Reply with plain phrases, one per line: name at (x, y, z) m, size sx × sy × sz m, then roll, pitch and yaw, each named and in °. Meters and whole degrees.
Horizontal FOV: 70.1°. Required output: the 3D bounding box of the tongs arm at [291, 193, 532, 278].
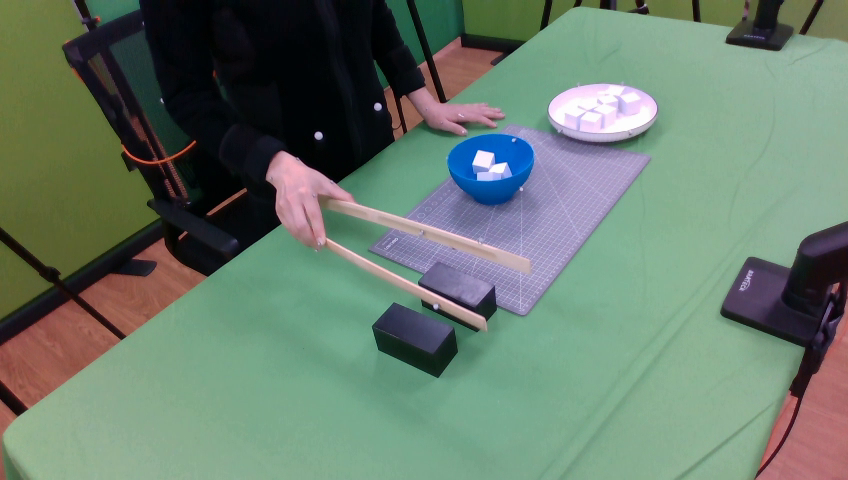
tongs arm at (-0.033, -0.006, 0.843) m, size 0.382 × 0.026 × 0.051 m, roll 21°, pitch 53°, yaw 30°

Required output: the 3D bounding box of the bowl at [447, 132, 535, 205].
bowl at (0.119, -0.115, 1.051) m, size 0.151 × 0.077 × 0.150 m, roll -5°, pitch 40°, yaw 5°

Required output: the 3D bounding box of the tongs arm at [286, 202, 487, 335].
tongs arm at (-0.068, 0.031, 0.811) m, size 0.384 × 0.028 × 0.028 m, roll 27°, pitch 60°, yaw 34°

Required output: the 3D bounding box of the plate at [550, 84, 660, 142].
plate at (0.355, -0.247, 1.195) m, size 0.207 × 0.039 × 0.206 m, roll -5°, pitch 39°, yaw 5°
